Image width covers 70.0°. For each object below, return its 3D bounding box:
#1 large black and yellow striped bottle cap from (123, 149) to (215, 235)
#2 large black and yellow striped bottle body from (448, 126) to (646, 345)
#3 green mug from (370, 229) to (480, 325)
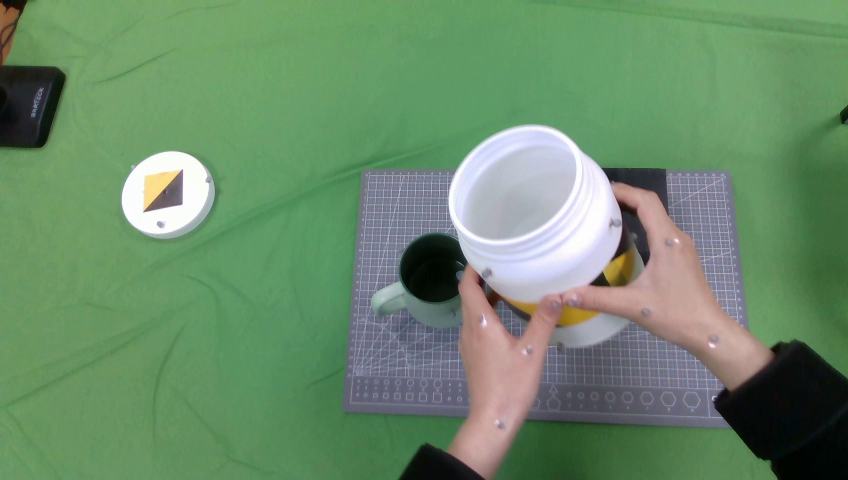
[{"bbox_3d":[-0.326,-0.063,0.773,0.115,0.019,0.114,-1,71,4],"label":"large black and yellow striped bottle cap"},{"bbox_3d":[0.109,0.000,0.526,0.130,0.186,0.129,-16,53,23],"label":"large black and yellow striped bottle body"},{"bbox_3d":[0.001,0.048,0.663,0.125,0.105,0.092,-24,72,-3],"label":"green mug"}]
